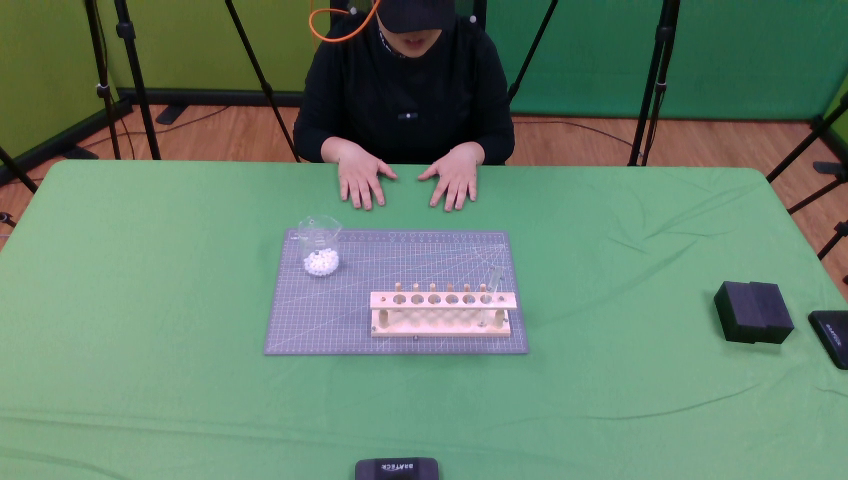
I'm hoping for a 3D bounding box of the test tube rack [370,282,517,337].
[{"bbox_3d":[0.030,0.116,1.041,0.242,0.085,0.066,1,46,-4],"label":"test tube rack"}]

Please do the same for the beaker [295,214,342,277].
[{"bbox_3d":[-0.191,0.013,1.114,0.084,0.101,0.073,-12,49,-17],"label":"beaker"}]

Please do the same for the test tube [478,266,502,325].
[{"bbox_3d":[0.108,0.095,0.998,0.017,0.151,0.017,4,48,-4],"label":"test tube"}]
